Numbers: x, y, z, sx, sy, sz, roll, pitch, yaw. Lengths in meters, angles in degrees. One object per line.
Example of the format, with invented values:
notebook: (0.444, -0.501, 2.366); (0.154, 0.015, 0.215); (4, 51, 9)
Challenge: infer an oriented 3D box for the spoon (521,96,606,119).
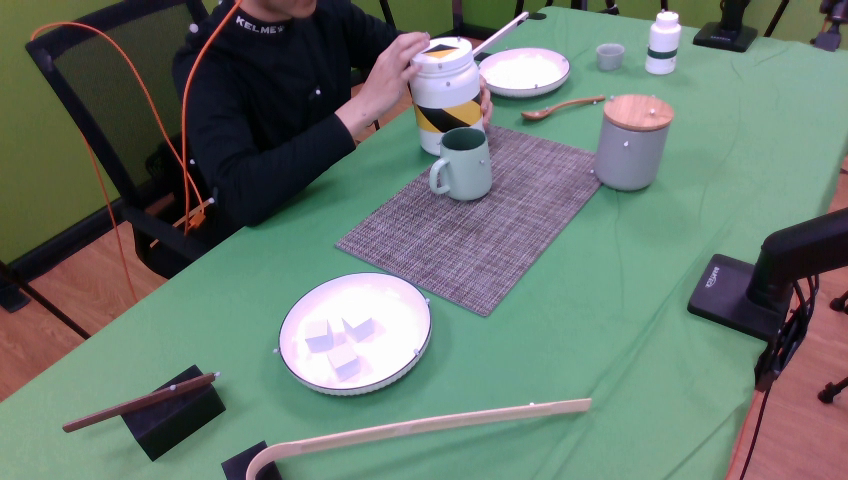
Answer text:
spoon: (0.291, -0.277, 1.249); (0.194, 0.022, 0.041); (-17, 25, -11)

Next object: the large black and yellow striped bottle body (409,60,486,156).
large black and yellow striped bottle body: (0.045, -0.267, 1.146); (0.130, 0.185, 0.130); (-7, 38, 6)

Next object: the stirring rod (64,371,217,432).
stirring rod: (-0.337, 0.192, 0.723); (0.177, 0.014, 0.005); (-18, 42, -12)

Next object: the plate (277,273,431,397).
plate: (-0.091, 0.129, 0.821); (0.207, 0.039, 0.206); (-4, 40, 4)

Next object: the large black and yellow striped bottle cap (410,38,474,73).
large black and yellow striped bottle cap: (0.032, -0.335, 1.093); (0.115, 0.019, 0.114); (-7, 39, 6)

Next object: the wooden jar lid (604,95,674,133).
wooden jar lid: (0.343, -0.200, 0.973); (0.108, 0.021, 0.108); (-1, 39, 2)

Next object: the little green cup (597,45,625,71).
little green cup: (0.423, -0.413, 1.375); (0.061, 0.039, 0.061); (-3, 41, 3)

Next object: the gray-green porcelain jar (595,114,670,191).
gray-green porcelain jar: (0.346, -0.154, 1.017); (0.106, 0.127, 0.105); (-2, 44, 2)

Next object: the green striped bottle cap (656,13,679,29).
green striped bottle cap: (0.515, -0.463, 1.278); (0.044, 0.020, 0.044); (-6, 42, 6)

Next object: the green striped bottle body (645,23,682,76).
green striped bottle body: (0.520, -0.424, 1.312); (0.063, 0.120, 0.063); (-4, 41, 4)

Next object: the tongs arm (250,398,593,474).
tongs arm: (0.008, 0.212, 0.674); (0.389, 0.028, 0.028); (-5, 46, -11)

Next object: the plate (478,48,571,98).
plate: (0.223, -0.371, 1.357); (0.209, 0.038, 0.208); (-4, 41, 4)

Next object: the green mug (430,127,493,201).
green mug: (0.059, -0.122, 1.034); (0.126, 0.105, 0.091); (-35, 48, -28)

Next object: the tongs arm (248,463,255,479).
tongs arm: (0.012, 0.262, 0.614); (0.385, 0.026, 0.050); (3, 42, -2)
